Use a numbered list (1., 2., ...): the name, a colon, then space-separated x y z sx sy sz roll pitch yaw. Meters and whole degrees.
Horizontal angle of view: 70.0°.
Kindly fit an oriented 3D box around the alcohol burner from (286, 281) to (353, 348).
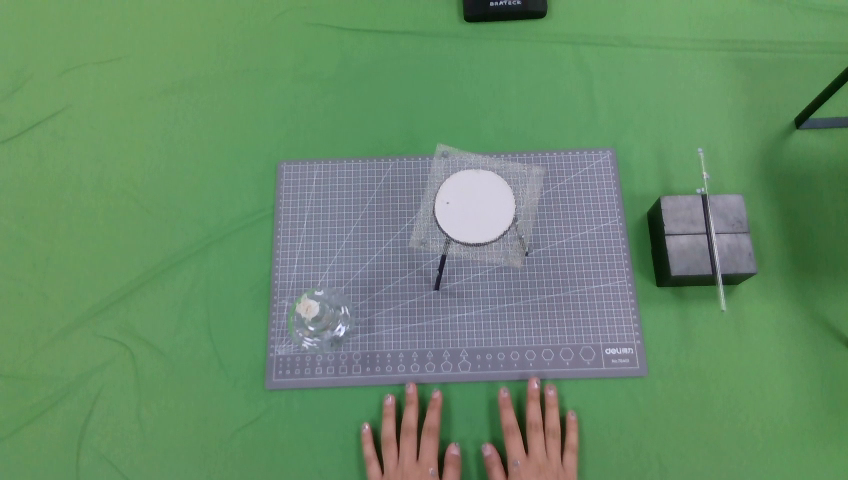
1. alcohol burner: -0.121 0.081 0.683 0.078 0.120 0.077 0 73 1

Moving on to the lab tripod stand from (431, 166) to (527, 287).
1. lab tripod stand: 0.052 -0.021 0.704 0.148 0.132 0.147 -1 71 3

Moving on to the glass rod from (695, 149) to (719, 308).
1. glass rod: 0.335 -0.017 0.716 0.008 0.008 0.198 1 72 2

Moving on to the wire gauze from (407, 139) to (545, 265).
1. wire gauze: 0.056 -0.041 0.639 0.121 0.011 0.124 14 72 6
